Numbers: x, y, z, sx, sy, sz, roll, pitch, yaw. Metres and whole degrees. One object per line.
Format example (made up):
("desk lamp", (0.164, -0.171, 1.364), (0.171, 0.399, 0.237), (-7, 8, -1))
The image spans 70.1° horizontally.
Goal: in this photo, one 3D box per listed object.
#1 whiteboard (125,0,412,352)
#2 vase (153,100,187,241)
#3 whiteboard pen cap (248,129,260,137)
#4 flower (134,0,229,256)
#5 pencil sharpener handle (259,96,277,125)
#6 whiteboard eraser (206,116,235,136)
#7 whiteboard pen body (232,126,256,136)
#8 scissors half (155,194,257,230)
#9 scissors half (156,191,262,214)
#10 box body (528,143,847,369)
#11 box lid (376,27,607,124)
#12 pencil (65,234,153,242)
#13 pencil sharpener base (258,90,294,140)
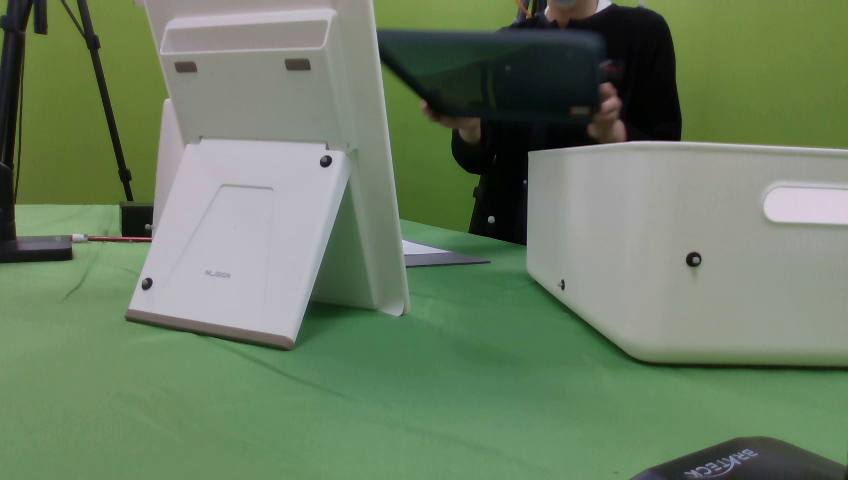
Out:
("whiteboard", (-0.151, -0.049, 0.472), (0.216, 0.305, 0.144), (6, 27, 24))
("vase", (-0.278, -0.066, 0.736), (0.098, 0.200, 0.098), (2, 9, 0))
("whiteboard pen cap", (-0.373, -0.235, 1.326), (0.018, 0.018, 0.033), (-3, 12, -35))
("flower", (-0.282, -0.146, 0.713), (0.038, 0.362, 0.044), (-23, 23, -31))
("pencil sharpener handle", (-0.373, -0.304, 1.425), (0.036, 0.067, 0.030), (13, -1, -37))
("whiteboard eraser", (-0.449, -0.251, 1.335), (0.056, 0.042, 0.112), (1, 7, -22))
("whiteboard pen body", (-0.407, -0.247, 1.372), (0.017, 0.017, 0.140), (-3, 13, -35))
("scissors half", (-0.378, -0.051, 1.058), (0.176, 0.040, 0.012), (20, 22, -31))
("scissors half", (-0.371, -0.069, 1.051), (0.176, 0.040, 0.013), (2, 25, -24))
("box body", (0.258, -0.005, 0.591), (0.254, 0.160, 0.363), (2, 7, -4))
("box lid", (0.101, -0.202, 0.786), (0.263, 0.015, 0.372), (6, 0, 16))
("pencil", (-0.429, -0.001, 0.911), (0.195, 0.012, 0.012), (1, 8, -19))
("pencil sharpener base", (-0.341, -0.285, 1.388), (0.062, 0.107, 0.076), (-3, 9, -36))
